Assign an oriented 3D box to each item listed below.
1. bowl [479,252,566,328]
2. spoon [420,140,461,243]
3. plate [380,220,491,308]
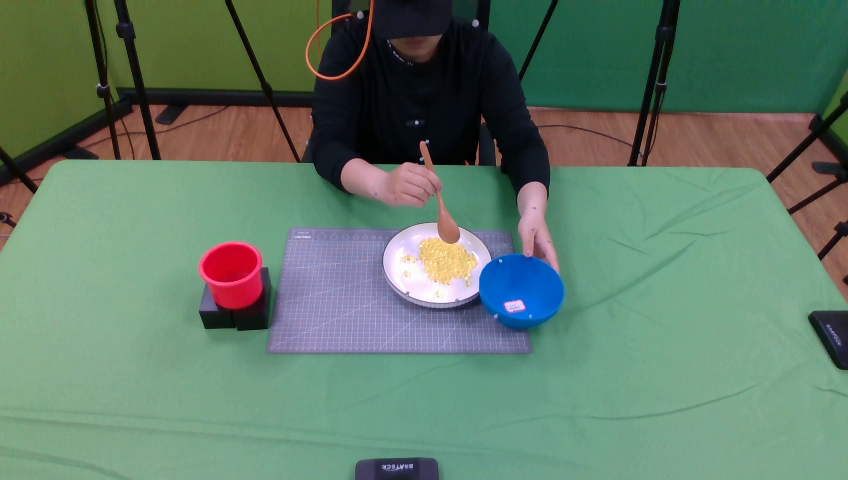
[{"bbox_3d":[0.167,0.103,1.067,0.151,0.077,0.150,2,46,-2],"label":"bowl"},{"bbox_3d":[0.024,-0.084,1.076,0.041,0.194,0.021,-13,10,24],"label":"spoon"},{"bbox_3d":[0.022,0.048,1.138,0.208,0.039,0.206,2,46,-2],"label":"plate"}]
